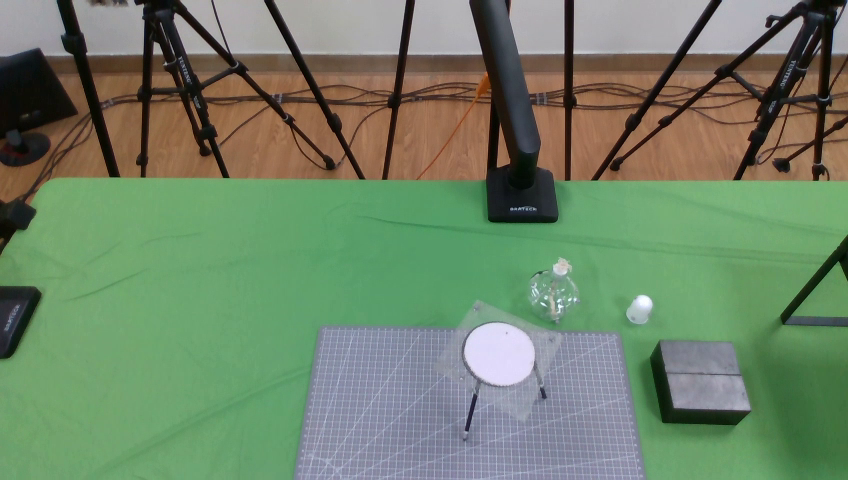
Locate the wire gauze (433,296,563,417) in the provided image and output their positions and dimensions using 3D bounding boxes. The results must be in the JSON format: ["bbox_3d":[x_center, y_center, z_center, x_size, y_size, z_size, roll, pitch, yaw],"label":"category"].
[{"bbox_3d":[0.091,0.134,0.735,0.124,0.011,0.121,25,57,18],"label":"wire gauze"}]

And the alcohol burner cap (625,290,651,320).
[{"bbox_3d":[0.323,0.096,0.906,0.034,0.048,0.033,-1,52,2],"label":"alcohol burner cap"}]

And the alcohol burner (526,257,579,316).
[{"bbox_3d":[0.192,0.061,0.889,0.078,0.120,0.077,0,53,0],"label":"alcohol burner"}]

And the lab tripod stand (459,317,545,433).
[{"bbox_3d":[0.094,0.170,0.792,0.148,0.132,0.147,0,51,0],"label":"lab tripod stand"}]
